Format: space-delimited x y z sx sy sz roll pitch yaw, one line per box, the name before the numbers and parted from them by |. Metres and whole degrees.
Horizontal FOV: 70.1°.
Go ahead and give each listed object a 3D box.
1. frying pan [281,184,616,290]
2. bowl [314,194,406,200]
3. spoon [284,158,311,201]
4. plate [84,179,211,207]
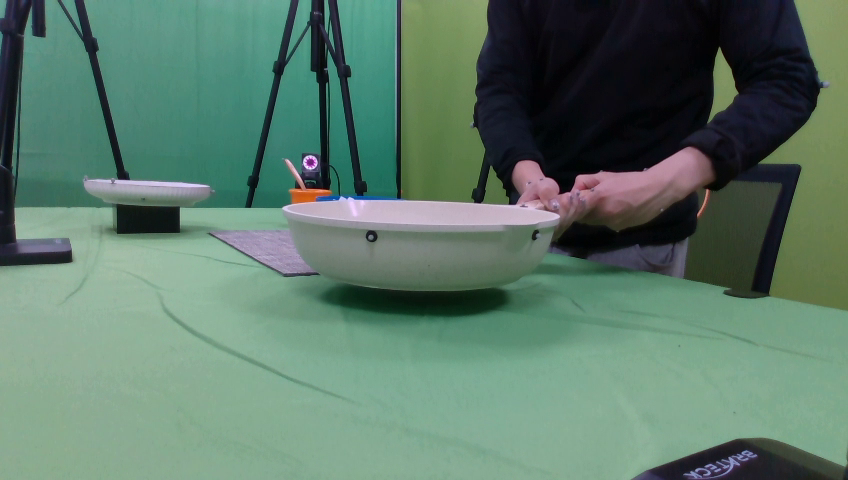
frying pan | 0.078 -0.026 0.713 0.490 0.102 0.305 -14 17 -36
bowl | -0.105 -0.033 0.992 0.151 0.077 0.151 3 8 0
spoon | -0.269 -0.113 1.335 0.042 0.193 0.021 -4 -34 -42
plate | -0.495 -0.085 1.093 0.208 0.039 0.207 4 7 0
